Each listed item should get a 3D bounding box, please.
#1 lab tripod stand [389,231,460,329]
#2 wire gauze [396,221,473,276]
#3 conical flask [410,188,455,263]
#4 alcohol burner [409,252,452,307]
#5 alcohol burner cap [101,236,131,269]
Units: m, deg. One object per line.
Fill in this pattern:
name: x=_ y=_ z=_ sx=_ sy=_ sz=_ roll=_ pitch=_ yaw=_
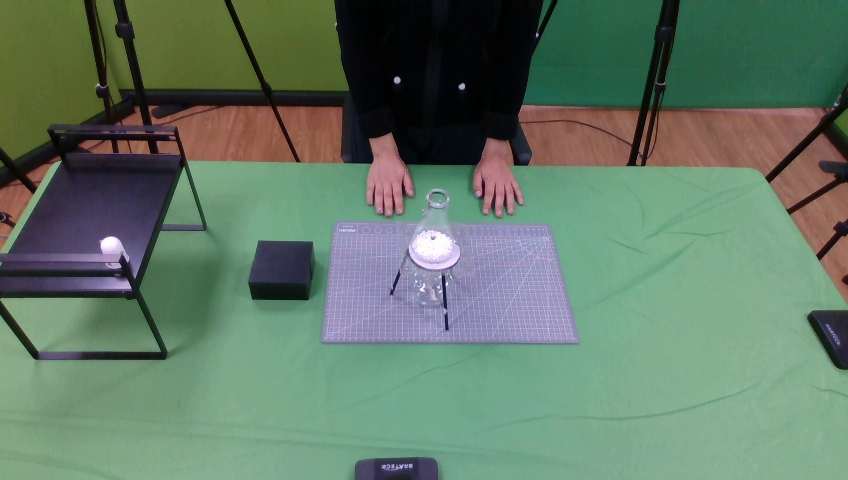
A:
lab tripod stand: x=0.015 y=0.063 z=1.058 sx=0.148 sy=0.132 sz=0.147 roll=4 pitch=46 yaw=-4
wire gauze: x=0.016 y=0.014 z=1.014 sx=0.125 sy=0.011 sz=0.120 roll=-1 pitch=45 yaw=-3
conical flask: x=0.017 y=-0.027 z=0.971 sx=0.075 sy=0.122 sz=0.075 roll=2 pitch=48 yaw=-3
alcohol burner: x=0.013 y=0.063 z=1.071 sx=0.078 sy=0.119 sz=0.077 roll=4 pitch=45 yaw=-3
alcohol burner cap: x=-0.451 y=0.016 z=0.883 sx=0.034 sy=0.048 sz=0.033 roll=2 pitch=45 yaw=-2
